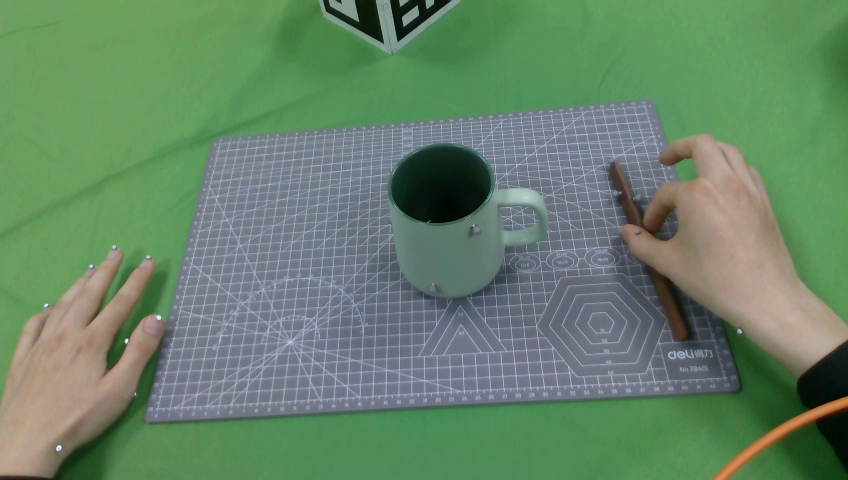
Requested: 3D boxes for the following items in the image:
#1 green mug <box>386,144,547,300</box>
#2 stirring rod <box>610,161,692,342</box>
[{"bbox_3d":[0.034,-0.013,0.479,0.125,0.106,0.091,-3,56,5],"label":"green mug"},{"bbox_3d":[0.187,0.004,0.507,0.006,0.014,0.174,-14,59,4],"label":"stirring rod"}]
